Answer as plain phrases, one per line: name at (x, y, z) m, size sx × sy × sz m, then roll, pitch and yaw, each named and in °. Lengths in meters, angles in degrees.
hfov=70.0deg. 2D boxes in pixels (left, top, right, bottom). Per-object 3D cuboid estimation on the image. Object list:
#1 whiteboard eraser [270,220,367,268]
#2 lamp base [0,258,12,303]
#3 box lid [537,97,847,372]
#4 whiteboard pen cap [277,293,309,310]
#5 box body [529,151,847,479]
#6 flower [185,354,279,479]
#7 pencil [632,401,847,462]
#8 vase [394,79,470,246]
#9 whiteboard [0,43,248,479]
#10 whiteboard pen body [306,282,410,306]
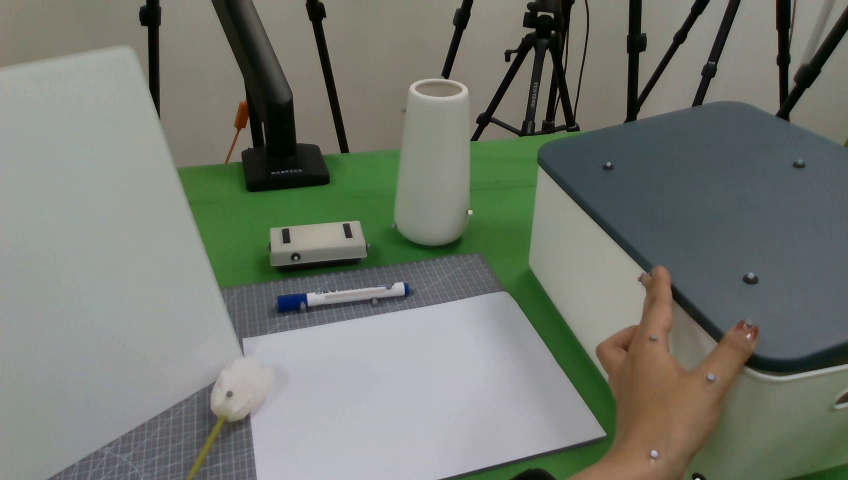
whiteboard eraser at (-0.129, 0.006, 0.733) m, size 0.113 × 0.042 × 0.055 m, roll -7°, pitch 33°, yaw -13°
lamp base at (-0.530, -0.008, 0.590) m, size 0.178 × 0.181 × 0.160 m, roll 15°, pitch 35°, yaw 20°
box lid at (0.288, -0.038, 0.547) m, size 0.263 × 0.015 × 0.367 m, roll -16°, pitch 34°, yaw -8°
whiteboard pen cap at (-0.142, 0.067, 0.658) m, size 0.033 × 0.018 × 0.018 m, roll -3°, pitch 34°, yaw -14°
box body at (0.285, 0.046, 0.605) m, size 0.255 × 0.161 × 0.360 m, roll -7°, pitch 35°, yaw -14°
flower at (-0.196, 0.221, 0.429) m, size 0.044 × 0.038 × 0.359 m, roll 15°, pitch 40°, yaw 7°
pencil at (0.285, 0.173, 0.542) m, size 0.193 × 0.012 × 0.012 m, roll 12°, pitch 35°, yaw 10°
vase at (0.015, -0.092, 0.750) m, size 0.098 × 0.201 × 0.097 m, roll 3°, pitch 34°, yaw -2°
whiteboard at (-0.320, 0.015, 0.515) m, size 0.217 × 0.307 × 0.143 m, roll -29°, pitch 26°, yaw -37°
whiteboard pen body at (-0.085, 0.061, 0.672) m, size 0.141 × 0.017 × 0.017 m, roll -6°, pitch 35°, yaw -13°
